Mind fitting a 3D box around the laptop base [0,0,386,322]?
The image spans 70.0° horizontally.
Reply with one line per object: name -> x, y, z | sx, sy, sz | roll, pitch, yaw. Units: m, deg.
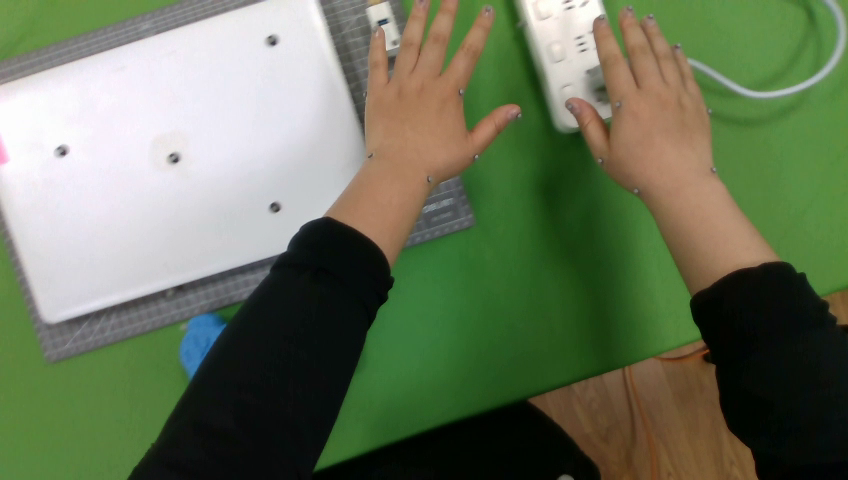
laptop base -> -0.236, -0.082, 0.590 | 0.354, 0.023, 0.236 | -18, 94, 0

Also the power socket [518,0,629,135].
power socket -> 0.135, -0.214, 0.582 | 0.072, 0.032, 0.226 | -16, 91, 2

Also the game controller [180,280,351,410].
game controller -> -0.156, 0.100, 0.581 | 0.155, 0.051, 0.097 | -18, 87, 0

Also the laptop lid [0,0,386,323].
laptop lid -> -0.236, -0.079, 0.579 | 0.357, 0.013, 0.242 | -16, 93, 0

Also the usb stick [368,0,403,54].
usb stick -> -0.038, -0.212, 0.582 | 0.021, 0.027, 0.059 | -18, 88, 0

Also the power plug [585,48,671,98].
power plug -> 0.187, -0.152, 0.564 | 0.072, 0.052, 0.035 | -5, 89, -3
